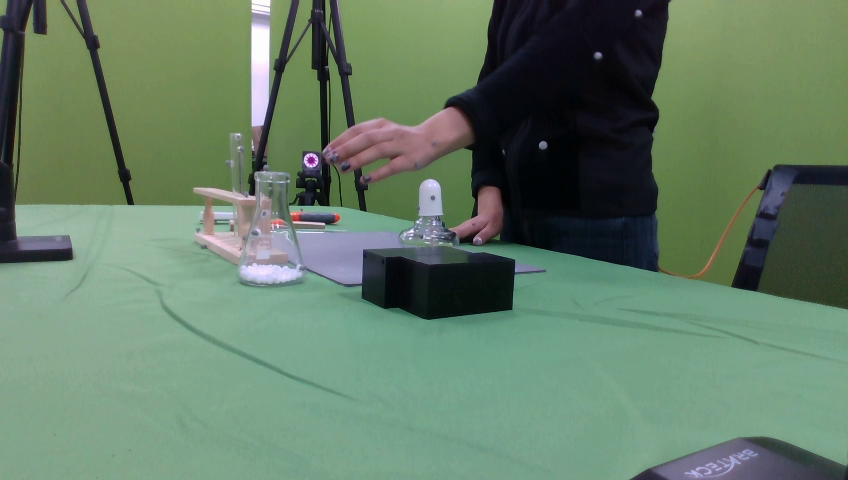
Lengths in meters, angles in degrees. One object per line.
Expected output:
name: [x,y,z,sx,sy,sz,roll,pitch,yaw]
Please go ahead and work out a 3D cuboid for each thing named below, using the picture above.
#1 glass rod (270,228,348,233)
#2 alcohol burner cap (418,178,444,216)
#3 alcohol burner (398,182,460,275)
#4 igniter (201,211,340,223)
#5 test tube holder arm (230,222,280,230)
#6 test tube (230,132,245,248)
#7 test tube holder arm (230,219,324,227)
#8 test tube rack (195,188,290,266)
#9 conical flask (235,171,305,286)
glass rod: [-0.234,-0.017,1.105,0.201,0.008,0.008,1,7,-26]
alcohol burner cap: [0.007,-0.053,0.746,0.034,0.048,0.034,-3,6,1]
alcohol burner: [0.007,-0.017,0.751,0.078,0.119,0.078,3,9,0]
igniter: [-0.311,-0.048,1.243,0.278,0.025,0.057,-1,-2,-24]
test tube holder arm: [-0.312,-0.025,1.118,0.088,0.015,0.010,-1,45,-30]
test tube: [-0.242,-0.065,0.789,0.017,0.150,0.017,0,7,0]
test tube holder arm: [-0.275,-0.031,1.145,0.179,0.015,0.013,-3,46,-31]
test tube rack: [-0.266,-0.025,0.864,0.067,0.085,0.241,-2,9,-33]
conical flask: [-0.168,-0.014,0.663,0.075,0.122,0.075,2,7,0]
